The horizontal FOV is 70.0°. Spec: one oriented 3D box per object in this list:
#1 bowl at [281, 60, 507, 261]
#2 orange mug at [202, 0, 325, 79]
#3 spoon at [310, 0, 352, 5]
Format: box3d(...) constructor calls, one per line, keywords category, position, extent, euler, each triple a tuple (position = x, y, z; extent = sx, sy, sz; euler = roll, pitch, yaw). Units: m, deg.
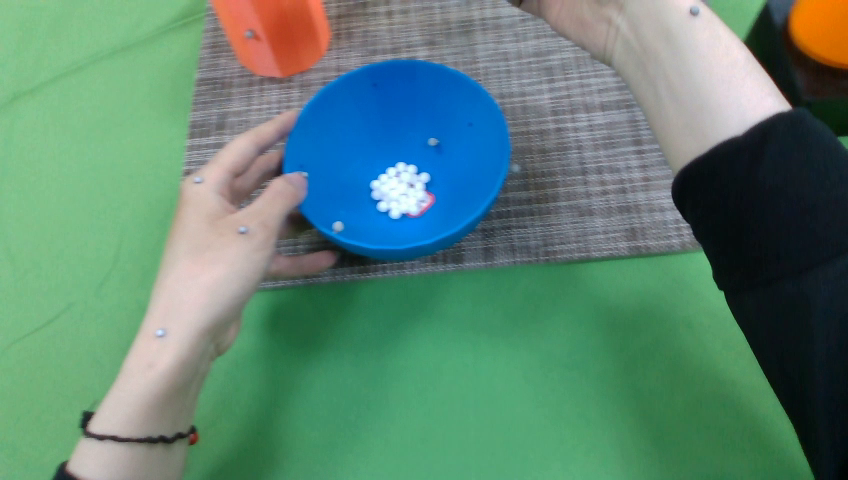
box3d(category="bowl", position=(-0.017, -0.043, 0.431), extent=(0.151, 0.077, 0.150), euler=(-2, 64, 4))
box3d(category="orange mug", position=(-0.134, -0.215, 0.509), extent=(0.083, 0.101, 0.125), euler=(5, 70, 7))
box3d(category="spoon", position=(0.010, -0.193, 0.375), extent=(0.193, 0.022, 0.041), euler=(-22, 56, 15))
